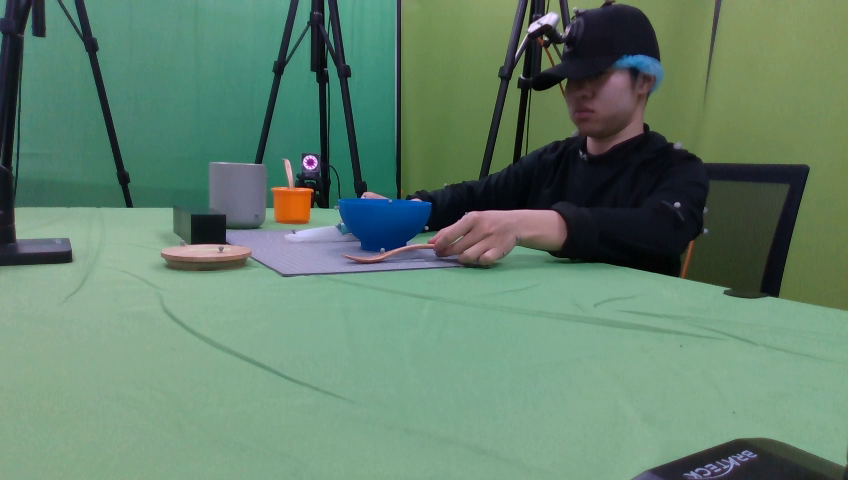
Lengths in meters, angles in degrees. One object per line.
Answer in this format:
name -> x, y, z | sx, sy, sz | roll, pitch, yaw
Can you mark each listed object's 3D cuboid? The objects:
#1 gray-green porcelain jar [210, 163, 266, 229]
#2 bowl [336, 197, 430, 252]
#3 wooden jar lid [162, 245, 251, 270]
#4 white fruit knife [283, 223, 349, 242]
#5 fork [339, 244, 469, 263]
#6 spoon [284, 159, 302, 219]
gray-green porcelain jar -> -0.367, -0.088, 1.195 | 0.106, 0.126, 0.106 | 3, 8, 0
bowl -> -0.066, -0.024, 0.967 | 0.151, 0.077, 0.151 | 3, 8, 0
wooden jar lid -> -0.278, 0.022, 0.777 | 0.108, 0.020, 0.108 | 2, 6, 0
white fruit knife -> -0.147, -0.017, 1.045 | 0.208, 0.027, 0.016 | -9, -4, -37
fork -> -0.022, 0.017, 0.861 | 0.208, 0.018, 0.028 | -8, 1, -31
spoon -> -0.302, -0.118, 1.370 | 0.042, 0.193, 0.021 | 4, -39, -24
